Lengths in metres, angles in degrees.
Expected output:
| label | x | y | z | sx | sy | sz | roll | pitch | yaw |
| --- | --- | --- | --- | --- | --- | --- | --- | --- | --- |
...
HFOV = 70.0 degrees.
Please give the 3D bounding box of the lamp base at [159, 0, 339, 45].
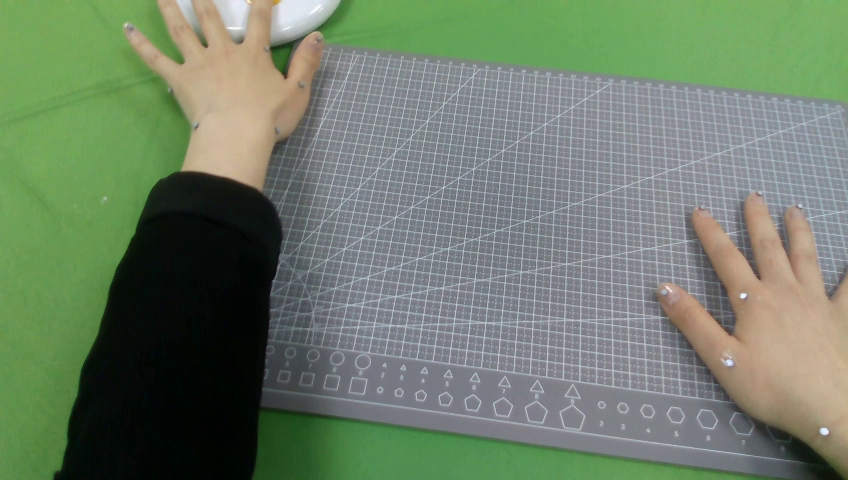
| label | x | y | z | sx | sy | sz | roll | pitch | yaw |
| --- | --- | --- | --- | --- | --- | --- | --- | --- | --- |
| lamp base | -0.155 | -0.275 | 0.464 | 0.160 | 0.182 | 0.177 | -30 | 63 | -17 |
